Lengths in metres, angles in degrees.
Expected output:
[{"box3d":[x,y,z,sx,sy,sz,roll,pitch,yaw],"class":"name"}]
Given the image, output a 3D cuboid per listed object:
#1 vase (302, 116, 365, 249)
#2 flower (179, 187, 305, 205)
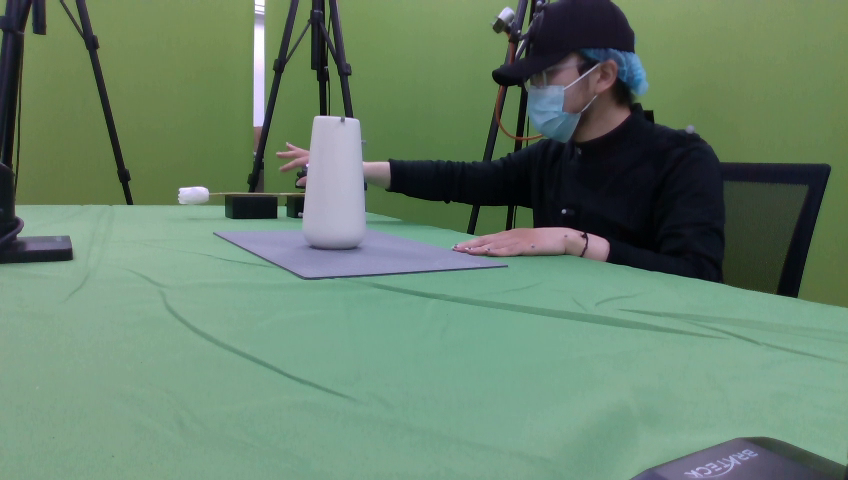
[{"box3d":[-0.139,-0.088,0.931,0.098,0.200,0.098,1,9,0],"class":"vase"},{"box3d":[-0.361,-0.110,1.365,0.364,0.038,0.044,-7,-6,-33],"class":"flower"}]
